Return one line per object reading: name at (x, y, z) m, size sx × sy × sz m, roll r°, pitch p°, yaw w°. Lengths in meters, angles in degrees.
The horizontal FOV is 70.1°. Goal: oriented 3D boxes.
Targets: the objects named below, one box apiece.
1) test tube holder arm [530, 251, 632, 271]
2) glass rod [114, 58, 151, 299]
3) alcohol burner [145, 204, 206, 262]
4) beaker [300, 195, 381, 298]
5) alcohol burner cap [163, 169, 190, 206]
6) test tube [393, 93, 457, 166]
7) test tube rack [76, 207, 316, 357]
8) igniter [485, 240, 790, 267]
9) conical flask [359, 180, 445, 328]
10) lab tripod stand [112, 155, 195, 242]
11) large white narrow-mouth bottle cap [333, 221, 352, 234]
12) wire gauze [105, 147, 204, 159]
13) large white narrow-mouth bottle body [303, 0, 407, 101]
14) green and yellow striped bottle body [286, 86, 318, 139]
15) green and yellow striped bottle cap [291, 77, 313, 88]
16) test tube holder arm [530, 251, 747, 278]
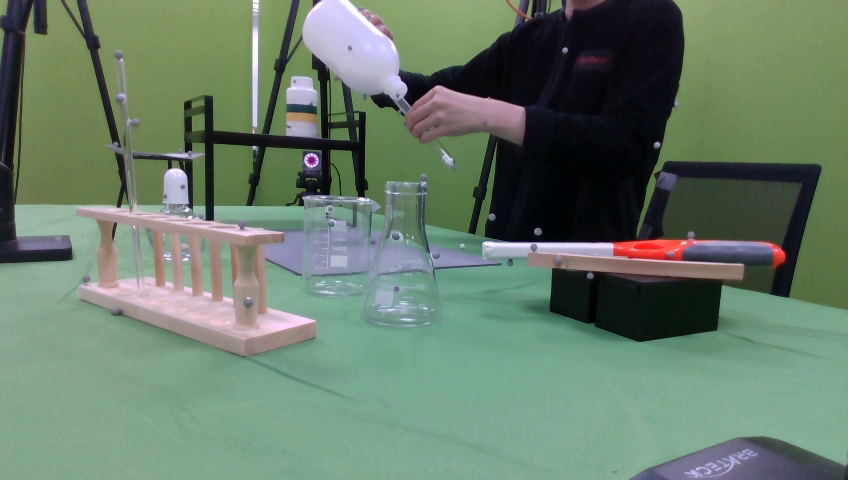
test tube holder arm at (0.139, 0.019, 0.538) m, size 0.087 × 0.015 × 0.010 m, roll 3°, pitch 7°, yaw 13°
glass rod at (-0.236, -0.044, 0.492) m, size 0.008 × 0.199 × 0.008 m, roll 0°, pitch 15°, yaw 0°
alcohol burner at (-0.322, -0.032, 0.788) m, size 0.078 × 0.119 × 0.078 m, roll 0°, pitch 7°, yaw 0°
beaker at (-0.087, 0.006, 0.626) m, size 0.084 × 0.100 × 0.074 m, roll 1°, pitch 8°, yaw -17°
alcohol burner cap at (-0.321, -0.068, 0.782) m, size 0.034 × 0.048 × 0.034 m, roll 1°, pitch 7°, yaw 0°
test tube at (0.001, -0.170, 0.933) m, size 0.150 × 0.017 × 0.017 m, roll 52°, pitch 27°, yaw 16°
test tube rack at (-0.196, 0.023, 0.500) m, size 0.241 × 0.085 × 0.067 m, roll 8°, pitch 9°, yaw 36°
igniter at (0.197, 0.012, 0.585) m, size 0.276 × 0.025 × 0.057 m, roll 1°, pitch 5°, yaw 12°
conical flask at (-0.017, 0.010, 0.522) m, size 0.075 × 0.122 × 0.075 m, roll 3°, pitch 7°, yaw 0°
lab tripod stand at (-0.405, -0.064, 0.931) m, size 0.148 × 0.131 × 0.148 m, roll 1°, pitch 6°, yaw 0°
large white narrow-mouth bottle cap at (-0.152, -0.024, 1.134) m, size 0.038 × 0.024 × 0.037 m, roll 4°, pitch 7°, yaw 0°
wire gauze at (-0.407, -0.131, 0.928) m, size 0.125 × 0.011 × 0.121 m, roll 2°, pitch 6°, yaw -11°
large white narrow-mouth bottle body at (-0.100, -0.298, 0.979) m, size 0.194 × 0.101 × 0.102 m, roll 46°, pitch 23°, yaw 15°
green and yellow striped bottle body at (-0.251, -0.270, 1.245) m, size 0.063 × 0.119 × 0.063 m, roll 2°, pitch 7°, yaw 0°
green and yellow striped bottle cap at (-0.250, -0.321, 1.238) m, size 0.045 × 0.020 × 0.045 m, roll 3°, pitch 6°, yaw 0°
test tube holder arm at (0.182, 0.022, 0.523) m, size 0.178 × 0.015 × 0.013 m, roll 3°, pitch 7°, yaw 12°
